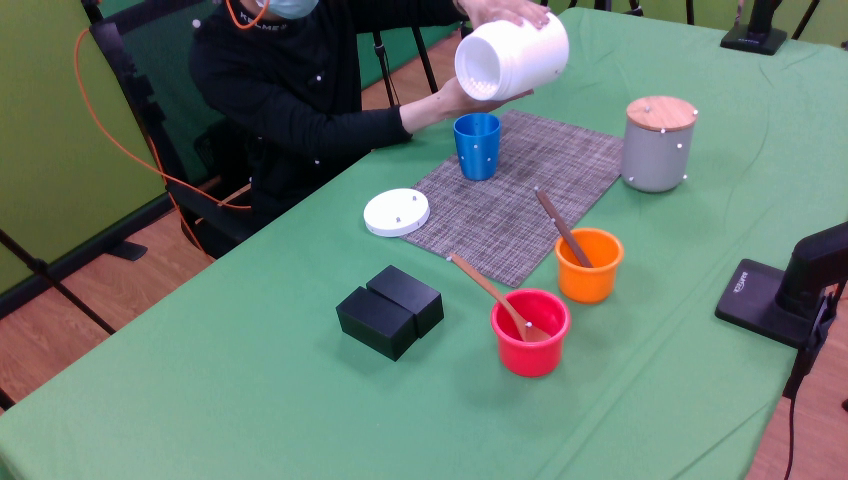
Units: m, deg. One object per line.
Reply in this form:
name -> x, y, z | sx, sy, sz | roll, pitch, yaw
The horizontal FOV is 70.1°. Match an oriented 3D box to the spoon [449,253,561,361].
spoon -> 0.103, 0.083, 0.770 | 0.194, 0.021, 0.042 | 47, 51, -7

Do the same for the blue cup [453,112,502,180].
blue cup -> 0.097, -0.165, 1.088 | 0.092, 0.100, 0.092 | -3, 40, 3

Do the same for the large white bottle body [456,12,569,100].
large white bottle body -> 0.156, -0.326, 1.076 | 0.185, 0.131, 0.129 | -27, 43, -37

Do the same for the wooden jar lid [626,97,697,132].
wooden jar lid -> 0.381, -0.198, 0.976 | 0.108, 0.021, 0.108 | -2, 40, 3

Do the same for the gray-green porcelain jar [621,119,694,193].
gray-green porcelain jar -> 0.389, -0.152, 1.016 | 0.106, 0.127, 0.105 | -4, 40, 4

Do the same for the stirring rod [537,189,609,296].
stirring rod -> 0.210, 0.003, 0.855 | 0.014, 0.006, 0.176 | -32, 89, -30

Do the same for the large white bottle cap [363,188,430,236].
large white bottle cap -> -0.048, -0.050, 1.040 | 0.115, 0.018, 0.114 | -7, 41, 6
